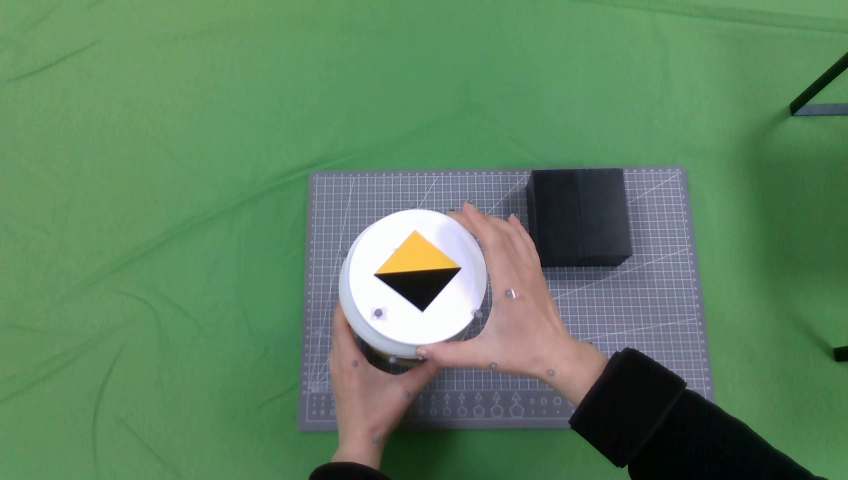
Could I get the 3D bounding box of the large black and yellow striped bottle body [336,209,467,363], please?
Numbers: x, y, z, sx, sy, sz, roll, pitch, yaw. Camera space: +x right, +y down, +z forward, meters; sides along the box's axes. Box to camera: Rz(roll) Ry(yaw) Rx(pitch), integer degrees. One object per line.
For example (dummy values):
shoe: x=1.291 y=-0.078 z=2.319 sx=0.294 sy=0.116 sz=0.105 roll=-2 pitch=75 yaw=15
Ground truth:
large black and yellow striped bottle body: x=-0.015 y=0.049 z=0.595 sx=0.131 sy=0.185 sz=0.130 roll=0 pitch=75 yaw=0

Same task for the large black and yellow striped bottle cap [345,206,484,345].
large black and yellow striped bottle cap: x=-0.008 y=0.028 z=0.500 sx=0.115 sy=0.019 sz=0.114 roll=1 pitch=75 yaw=-4
